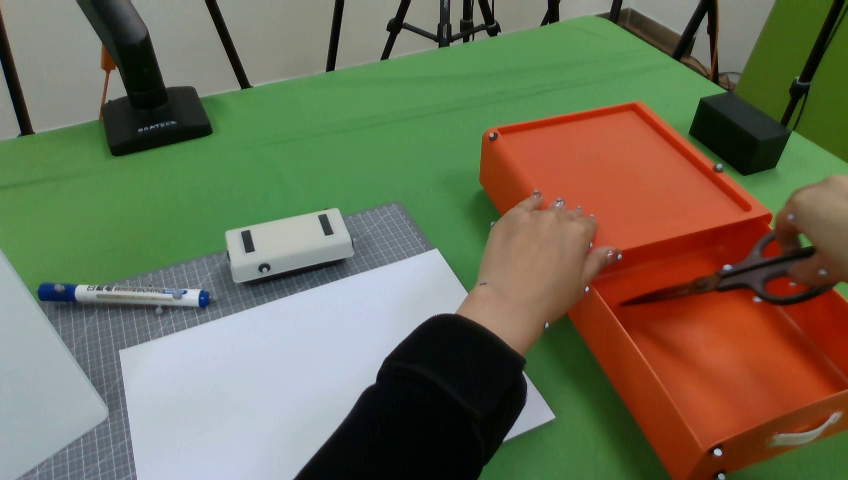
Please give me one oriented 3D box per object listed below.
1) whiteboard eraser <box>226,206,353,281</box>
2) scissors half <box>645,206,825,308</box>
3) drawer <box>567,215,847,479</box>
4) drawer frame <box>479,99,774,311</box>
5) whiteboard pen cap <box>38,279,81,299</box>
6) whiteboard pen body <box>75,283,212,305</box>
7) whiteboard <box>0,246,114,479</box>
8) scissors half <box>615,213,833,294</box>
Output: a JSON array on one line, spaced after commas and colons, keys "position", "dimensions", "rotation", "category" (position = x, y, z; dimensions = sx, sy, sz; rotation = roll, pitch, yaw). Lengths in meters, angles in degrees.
[{"position": [-0.129, 0.005, 0.579], "dimensions": [0.113, 0.042, 0.055], "rotation": [-14, 43, -16], "category": "whiteboard eraser"}, {"position": [0.245, 0.027, 0.502], "dimensions": [0.040, 0.175, 0.012], "rotation": [38, 45, -12], "category": "scissors half"}, {"position": [0.240, 0.067, 0.499], "dimensions": [0.195, 0.074, 0.209], "rotation": [-13, 45, -13], "category": "drawer"}, {"position": [0.187, -0.044, 0.612], "dimensions": [0.202, 0.083, 0.211], "rotation": [-14, 44, -14], "category": "drawer frame"}, {"position": [-0.323, 0.044, 0.541], "dimensions": [0.033, 0.018, 0.018], "rotation": [2, 42, -5], "category": "whiteboard pen cap"}, {"position": [-0.264, 0.048, 0.544], "dimensions": [0.141, 0.017, 0.017], "rotation": [2, 42, -3], "category": "whiteboard pen body"}, {"position": [-0.394, 0.044, 0.383], "dimensions": [0.217, 0.308, 0.142], "rotation": [-35, 34, -32], "category": "whiteboard"}, {"position": [0.236, 0.017, 0.498], "dimensions": [0.175, 0.040, 0.013], "rotation": [-28, 18, 39], "category": "scissors half"}]
